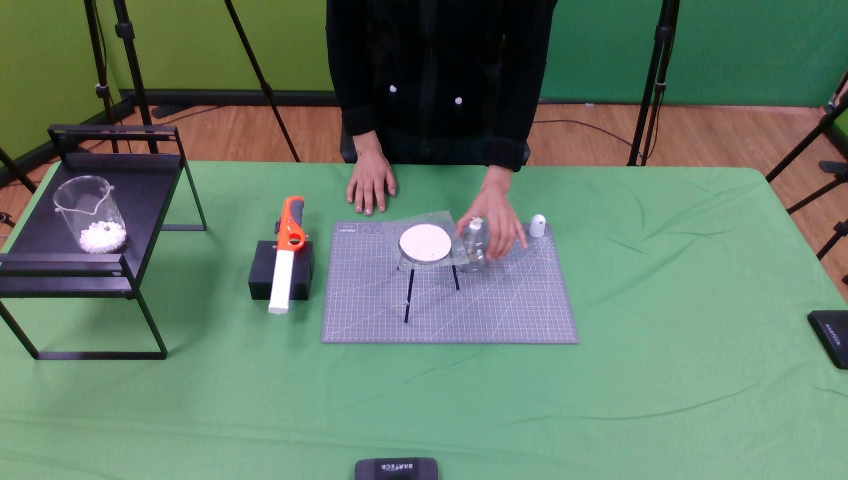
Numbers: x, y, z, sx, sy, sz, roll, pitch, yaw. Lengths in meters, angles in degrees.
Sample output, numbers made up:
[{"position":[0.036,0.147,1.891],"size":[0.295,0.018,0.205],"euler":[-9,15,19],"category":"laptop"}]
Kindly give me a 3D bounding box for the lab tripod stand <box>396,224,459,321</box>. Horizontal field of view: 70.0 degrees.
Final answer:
[{"position":[-0.003,0.052,1.067],"size":[0.148,0.132,0.147],"euler":[3,47,-3],"category":"lab tripod stand"}]

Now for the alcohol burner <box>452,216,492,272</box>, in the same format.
[{"position":[0.091,0.003,1.136],"size":[0.078,0.120,0.077],"euler":[2,43,-1],"category":"alcohol burner"}]

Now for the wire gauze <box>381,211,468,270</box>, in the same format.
[{"position":[0.000,0.001,1.023],"size":[0.125,0.011,0.120],"euler":[-9,48,-13],"category":"wire gauze"}]

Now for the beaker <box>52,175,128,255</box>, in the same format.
[{"position":[-0.483,-0.032,0.888],"size":[0.074,0.101,0.083],"euler":[-28,55,-27],"category":"beaker"}]

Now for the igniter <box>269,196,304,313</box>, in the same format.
[{"position":[-0.249,0.016,1.095],"size":[0.057,0.025,0.274],"euler":[8,46,-13],"category":"igniter"}]

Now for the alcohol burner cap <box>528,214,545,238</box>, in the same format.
[{"position":[0.231,-0.032,1.230],"size":[0.034,0.048,0.033],"euler":[1,45,-1],"category":"alcohol burner cap"}]
